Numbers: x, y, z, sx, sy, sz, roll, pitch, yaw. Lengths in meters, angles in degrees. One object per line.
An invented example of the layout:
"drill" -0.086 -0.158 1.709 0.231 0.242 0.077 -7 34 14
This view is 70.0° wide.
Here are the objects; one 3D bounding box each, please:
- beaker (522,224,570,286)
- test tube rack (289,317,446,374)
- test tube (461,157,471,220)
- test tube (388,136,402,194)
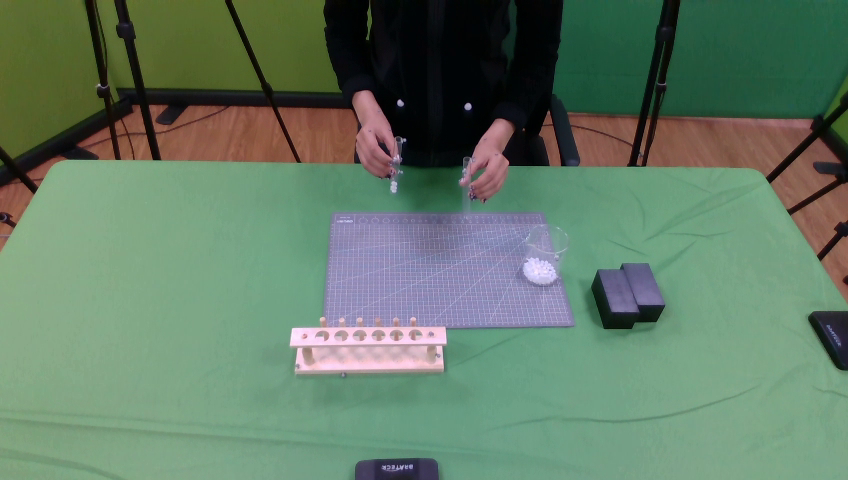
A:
"beaker" 0.221 0.032 1.129 0.084 0.101 0.073 -6 46 -9
"test tube rack" -0.089 0.167 0.988 0.242 0.085 0.066 0 46 -4
"test tube" 0.079 -0.094 1.142 0.017 0.151 0.017 -1 46 1
"test tube" -0.055 -0.137 1.136 0.017 0.151 0.017 4 53 -5
